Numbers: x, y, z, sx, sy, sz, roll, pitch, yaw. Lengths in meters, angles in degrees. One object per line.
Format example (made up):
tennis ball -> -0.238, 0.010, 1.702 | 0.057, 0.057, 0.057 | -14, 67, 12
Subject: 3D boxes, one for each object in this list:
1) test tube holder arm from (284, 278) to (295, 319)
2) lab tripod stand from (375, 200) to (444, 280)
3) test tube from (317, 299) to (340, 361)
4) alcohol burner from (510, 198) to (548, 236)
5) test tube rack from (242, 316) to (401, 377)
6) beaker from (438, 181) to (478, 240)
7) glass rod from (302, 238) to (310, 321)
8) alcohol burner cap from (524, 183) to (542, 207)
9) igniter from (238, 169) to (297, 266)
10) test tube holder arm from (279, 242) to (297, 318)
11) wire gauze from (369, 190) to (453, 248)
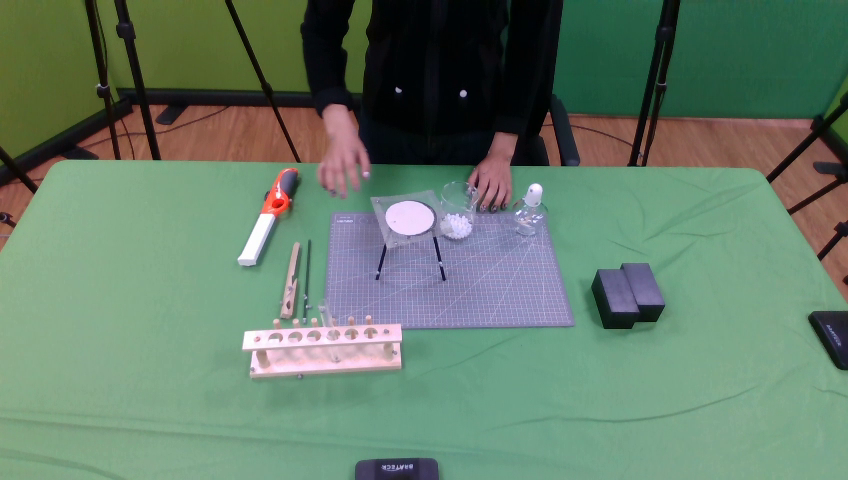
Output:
test tube holder arm -> -0.241, 0.103, 1.085 | 0.010, 0.015, 0.087 | 25, 38, -27
lab tripod stand -> -0.023, 0.003, 1.113 | 0.148, 0.132, 0.147 | 4, 45, -3
test tube -> -0.147, 0.142, 0.937 | 0.017, 0.151, 0.017 | -1, 46, 2
alcohol burner -> 0.214, -0.066, 1.213 | 0.078, 0.119, 0.077 | 2, 48, -3
test tube rack -> -0.161, 0.166, 0.983 | 0.242, 0.085, 0.066 | -2, 46, -6
beaker -> 0.066, -0.053, 1.200 | 0.074, 0.101, 0.083 | -17, 50, -19
glass rod -> -0.218, 0.069, 1.125 | 0.008, 0.008, 0.198 | -2, 47, -5
alcohol burner cap -> 0.216, -0.090, 1.186 | 0.034, 0.048, 0.033 | 1, 55, -2
igniter -> -0.313, -0.055, 1.225 | 0.057, 0.025, 0.275 | 1, 45, 10
test tube holder arm -> -0.249, 0.069, 1.114 | 0.013, 0.015, 0.177 | 25, 39, -27
wire gauze -> -0.024, -0.042, 1.064 | 0.121, 0.011, 0.124 | -10, 48, -16
